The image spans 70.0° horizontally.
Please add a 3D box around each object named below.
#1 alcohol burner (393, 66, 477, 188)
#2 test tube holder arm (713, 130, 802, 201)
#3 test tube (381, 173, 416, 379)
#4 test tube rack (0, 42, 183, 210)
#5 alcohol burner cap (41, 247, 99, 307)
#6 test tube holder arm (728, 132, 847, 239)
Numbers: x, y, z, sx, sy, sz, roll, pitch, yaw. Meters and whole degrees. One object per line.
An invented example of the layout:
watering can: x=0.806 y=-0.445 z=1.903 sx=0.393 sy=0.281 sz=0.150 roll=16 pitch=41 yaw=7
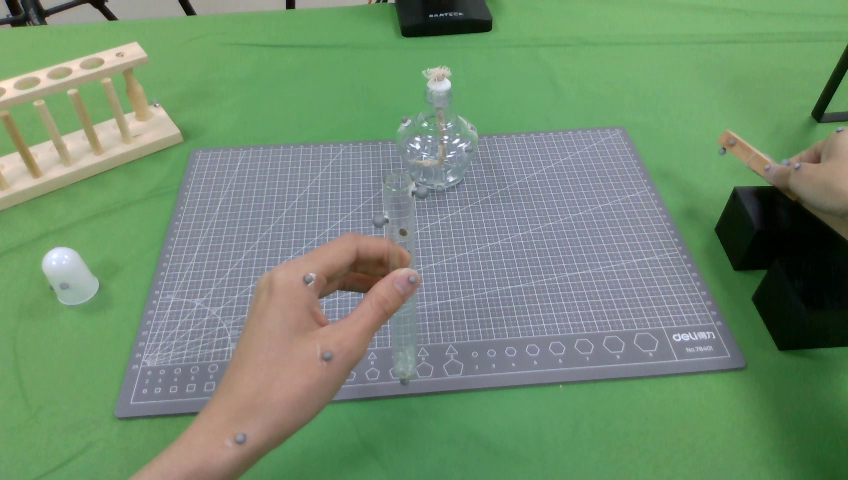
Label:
alcohol burner: x=0.010 y=-0.106 z=0.552 sx=0.078 sy=0.120 sz=0.077 roll=1 pitch=47 yaw=-1
test tube holder arm: x=0.280 y=-0.064 z=0.510 sx=0.010 sy=0.015 sz=0.087 roll=-5 pitch=44 yaw=-34
test tube: x=-0.013 y=0.028 z=0.339 sx=0.017 sy=0.151 sz=0.017 roll=0 pitch=40 yaw=0
test tube rack: x=-0.367 y=-0.099 z=0.569 sx=0.242 sy=0.086 sz=0.066 roll=-28 pitch=52 yaw=-24
alcohol burner cap: x=-0.284 y=0.027 z=0.480 sx=0.034 sy=0.048 sz=0.033 roll=1 pitch=46 yaw=0
test tube holder arm: x=0.306 y=-0.035 z=0.488 sx=0.013 sy=0.015 sz=0.176 roll=-6 pitch=45 yaw=-36
